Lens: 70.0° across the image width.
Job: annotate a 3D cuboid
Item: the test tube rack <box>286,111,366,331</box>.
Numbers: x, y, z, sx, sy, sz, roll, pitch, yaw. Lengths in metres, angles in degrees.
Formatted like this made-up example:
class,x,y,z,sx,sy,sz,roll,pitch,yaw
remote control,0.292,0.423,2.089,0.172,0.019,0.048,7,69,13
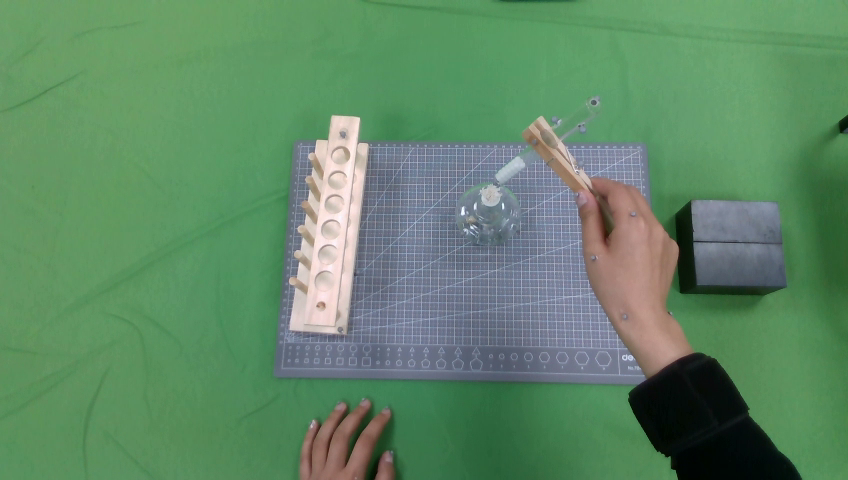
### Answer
class,x,y,z,sx,sy,sz,roll,pitch,yaw
test tube rack,-0.118,-0.022,0.705,0.067,0.085,0.241,5,76,2

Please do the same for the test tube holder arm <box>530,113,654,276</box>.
class,x,y,z,sx,sy,sz,roll,pitch,yaw
test tube holder arm,0.153,-0.040,0.551,0.013,0.015,0.178,-39,93,-28

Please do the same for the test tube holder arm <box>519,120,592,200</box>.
class,x,y,z,sx,sy,sz,roll,pitch,yaw
test tube holder arm,0.120,-0.071,0.546,0.088,0.015,0.010,45,62,-6

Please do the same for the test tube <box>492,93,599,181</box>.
class,x,y,z,sx,sy,sz,roll,pitch,yaw
test tube,0.104,-0.089,0.552,0.017,0.150,0.017,9,67,-23

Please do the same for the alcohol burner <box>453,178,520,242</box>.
class,x,y,z,sx,sy,sz,roll,pitch,yaw
alcohol burner,0.072,-0.039,0.692,0.078,0.119,0.077,0,77,2
